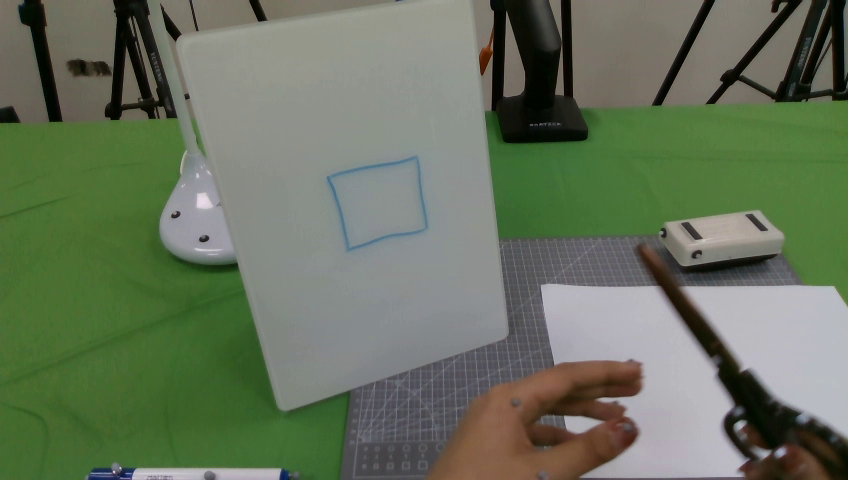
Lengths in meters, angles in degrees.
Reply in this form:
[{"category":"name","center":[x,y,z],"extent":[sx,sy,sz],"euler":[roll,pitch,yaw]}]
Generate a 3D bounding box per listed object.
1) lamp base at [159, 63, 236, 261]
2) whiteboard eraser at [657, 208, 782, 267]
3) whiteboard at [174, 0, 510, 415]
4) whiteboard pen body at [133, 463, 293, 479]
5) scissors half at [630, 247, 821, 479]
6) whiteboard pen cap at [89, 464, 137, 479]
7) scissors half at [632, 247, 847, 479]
[{"category":"lamp base","center":[-0.236,-0.094,0.666],"extent":[0.177,0.182,0.160],"euler":[26,46,33]},{"category":"whiteboard eraser","center":[0.311,-0.001,0.641],"extent":[0.113,0.042,0.055],"euler":[-7,40,-7]},{"category":"whiteboard","center":[-0.064,-0.041,0.542],"extent":[0.218,0.307,0.142],"euler":[-15,22,-15]},{"category":"whiteboard pen body","center":[-0.169,0.175,0.452],"extent":[0.141,0.017,0.017],"euler":[0,39,-1]},{"category":"scissors half","center":[0.166,0.071,0.338],"extent":[0.013,0.176,0.040],"euler":[-44,12,-24]},{"category":"whiteboard pen cap","center":[-0.229,0.175,0.451],"extent":[0.033,0.018,0.018],"euler":[0,39,-3]},{"category":"scissors half","center":[0.171,0.067,0.319],"extent":[0.175,0.040,0.013],"euler":[45,71,3]}]
